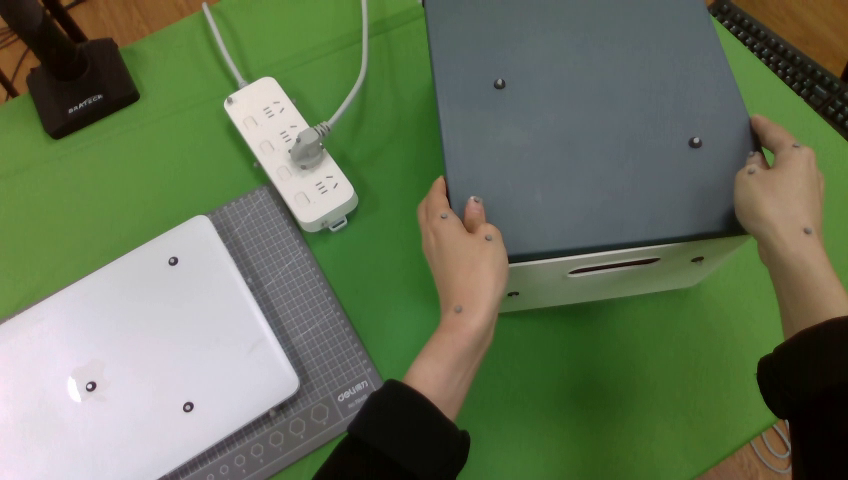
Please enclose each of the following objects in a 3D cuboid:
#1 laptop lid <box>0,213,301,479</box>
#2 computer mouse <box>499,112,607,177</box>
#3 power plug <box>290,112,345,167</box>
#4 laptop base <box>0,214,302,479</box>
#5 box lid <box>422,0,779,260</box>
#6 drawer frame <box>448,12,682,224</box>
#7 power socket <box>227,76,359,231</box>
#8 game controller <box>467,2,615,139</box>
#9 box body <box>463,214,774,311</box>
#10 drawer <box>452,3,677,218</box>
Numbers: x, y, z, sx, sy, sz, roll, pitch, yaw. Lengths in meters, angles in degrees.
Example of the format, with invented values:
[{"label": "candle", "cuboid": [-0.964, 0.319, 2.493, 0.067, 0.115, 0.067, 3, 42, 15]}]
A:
[{"label": "laptop lid", "cuboid": [-0.327, 0.145, 0.607, 0.357, 0.013, 0.240, -30, 70, -9]}, {"label": "computer mouse", "cuboid": [0.141, -0.105, 0.664, 0.117, 0.041, 0.062, -4, 73, 6]}, {"label": "power plug", "cuboid": [-0.115, -0.106, 0.682, 0.072, 0.053, 0.035, -22, 65, -7]}, {"label": "laptop base", "cuboid": [-0.327, 0.148, 0.618, 0.354, 0.023, 0.234, -32, 71, -10]}, {"label": "box lid", "cuboid": [0.138, -0.163, 0.550, 0.263, 0.015, 0.368, -6, 66, 0]}, {"label": "drawer frame", "cuboid": [0.140, -0.135, 0.664, 0.202, 0.083, 0.211, -9, 61, -2]}, {"label": "power socket", "cuboid": [-0.156, -0.105, 0.710, 0.072, 0.033, 0.225, -32, 68, -11]}, {"label": "game controller", "cuboid": [0.126, -0.187, 0.635, 0.097, 0.052, 0.154, -34, 71, -15]}, {"label": "box body", "cuboid": [0.144, -0.123, 0.624, 0.254, 0.161, 0.361, -8, 66, 1]}, {"label": "drawer", "cuboid": [0.142, -0.142, 0.662, 0.194, 0.074, 0.210, -10, 70, 0]}]
